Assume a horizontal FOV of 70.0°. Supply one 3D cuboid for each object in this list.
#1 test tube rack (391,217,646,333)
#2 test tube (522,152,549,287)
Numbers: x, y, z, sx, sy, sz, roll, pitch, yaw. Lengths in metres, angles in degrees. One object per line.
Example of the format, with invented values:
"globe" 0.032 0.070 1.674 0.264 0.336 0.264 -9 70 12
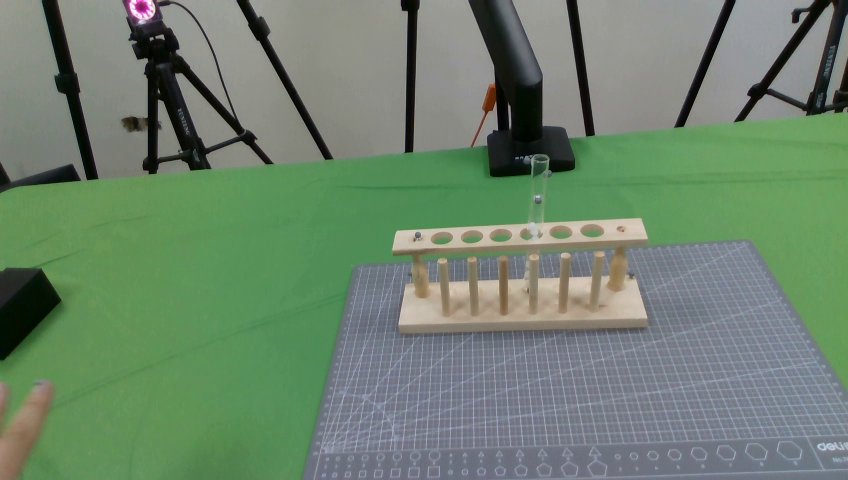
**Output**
"test tube rack" 0.092 0.036 0.602 0.242 0.086 0.066 -3 36 8
"test tube" 0.107 -0.014 0.584 0.017 0.151 0.017 -1 35 1
